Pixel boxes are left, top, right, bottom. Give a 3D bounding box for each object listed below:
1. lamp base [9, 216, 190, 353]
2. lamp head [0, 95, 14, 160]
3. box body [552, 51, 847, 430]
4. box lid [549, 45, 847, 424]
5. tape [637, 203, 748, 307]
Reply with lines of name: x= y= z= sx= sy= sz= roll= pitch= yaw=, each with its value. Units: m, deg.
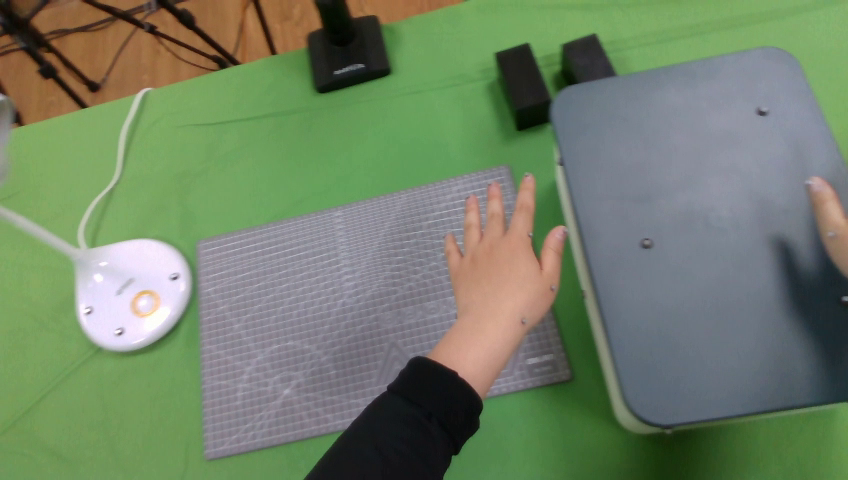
lamp base: x=-0.418 y=0.039 z=0.758 sx=0.178 sy=0.182 sz=0.160 roll=23 pitch=72 yaw=22
lamp head: x=-0.418 y=-0.088 z=0.486 sx=0.123 sy=0.112 sz=0.112 roll=22 pitch=68 yaw=-17
box body: x=0.294 y=0.007 z=0.654 sx=0.254 sy=0.162 sz=0.361 roll=-10 pitch=65 yaw=6
box lid: x=0.282 y=-0.026 z=0.587 sx=0.263 sy=0.015 sz=0.368 roll=-10 pitch=65 yaw=6
tape: x=0.308 y=0.017 z=0.701 sx=0.117 sy=0.053 sz=0.116 roll=-3 pitch=66 yaw=8
